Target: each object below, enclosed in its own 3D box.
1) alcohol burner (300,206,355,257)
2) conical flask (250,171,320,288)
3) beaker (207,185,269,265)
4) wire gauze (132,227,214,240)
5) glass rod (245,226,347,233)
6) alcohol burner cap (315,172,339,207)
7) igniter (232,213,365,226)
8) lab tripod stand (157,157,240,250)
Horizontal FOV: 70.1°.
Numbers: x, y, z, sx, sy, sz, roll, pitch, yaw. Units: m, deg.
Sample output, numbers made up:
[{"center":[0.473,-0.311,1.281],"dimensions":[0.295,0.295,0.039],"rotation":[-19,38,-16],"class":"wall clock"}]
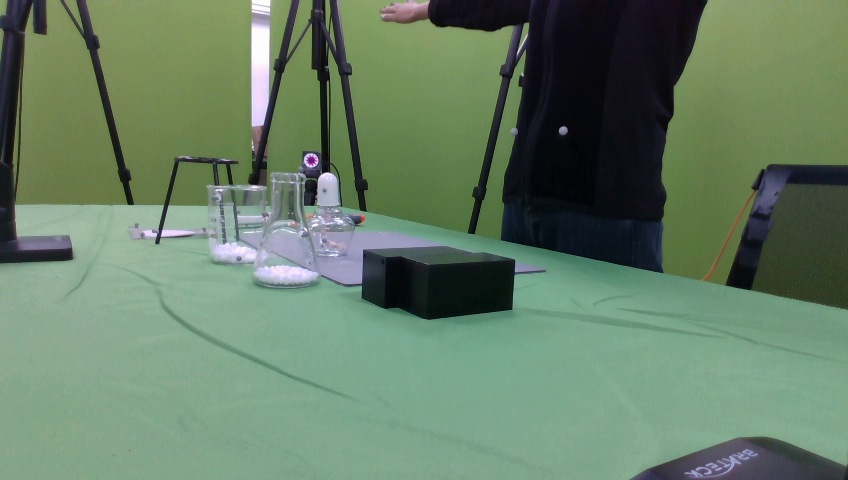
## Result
[{"center":[-0.137,-0.037,0.858],"dimensions":[0.078,0.119,0.078],"rotation":[0,7,0],"class":"alcohol burner"},{"center":[-0.150,-0.013,0.658],"dimensions":[0.075,0.122,0.075],"rotation":[2,7,0],"class":"conical flask"},{"center":[-0.244,-0.021,0.784],"dimensions":[0.083,0.100,0.074],"rotation":[6,8,30],"class":"beaker"},{"center":[-0.425,-0.013,1.018],"dimensions":[0.122,0.011,0.124],"rotation":[-1,6,-28],"class":"wire gauze"},{"center":[-0.237,-0.021,1.141],"dimensions":[0.201,0.008,0.008],"rotation":[-3,8,-32],"class":"glass rod"},{"center":[-0.137,-0.072,0.852],"dimensions":[0.034,0.048,0.034],"rotation":[1,14,0],"class":"alcohol burner cap"},{"center":[-0.246,-0.042,1.223],"dimensions":[0.278,0.025,0.057],"rotation":[-3,-1,-36],"class":"igniter"},{"center":[-0.322,-0.057,0.905],"dimensions":[0.148,0.131,0.148],"rotation":[4,7,0],"class":"lab tripod stand"}]
